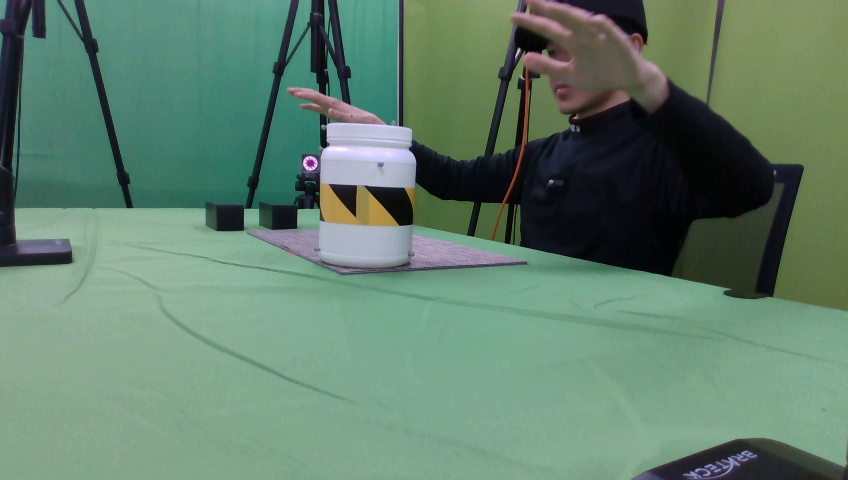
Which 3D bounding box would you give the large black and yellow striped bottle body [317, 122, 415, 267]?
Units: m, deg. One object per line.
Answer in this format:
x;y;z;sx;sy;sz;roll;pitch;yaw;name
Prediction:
-0.078;-0.063;0.824;0.131;0.184;0.130;2;7;0;large black and yellow striped bottle body

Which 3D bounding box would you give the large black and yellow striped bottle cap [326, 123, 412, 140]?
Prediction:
-0.074;-0.145;0.812;0.115;0.019;0.115;1;7;0;large black and yellow striped bottle cap
